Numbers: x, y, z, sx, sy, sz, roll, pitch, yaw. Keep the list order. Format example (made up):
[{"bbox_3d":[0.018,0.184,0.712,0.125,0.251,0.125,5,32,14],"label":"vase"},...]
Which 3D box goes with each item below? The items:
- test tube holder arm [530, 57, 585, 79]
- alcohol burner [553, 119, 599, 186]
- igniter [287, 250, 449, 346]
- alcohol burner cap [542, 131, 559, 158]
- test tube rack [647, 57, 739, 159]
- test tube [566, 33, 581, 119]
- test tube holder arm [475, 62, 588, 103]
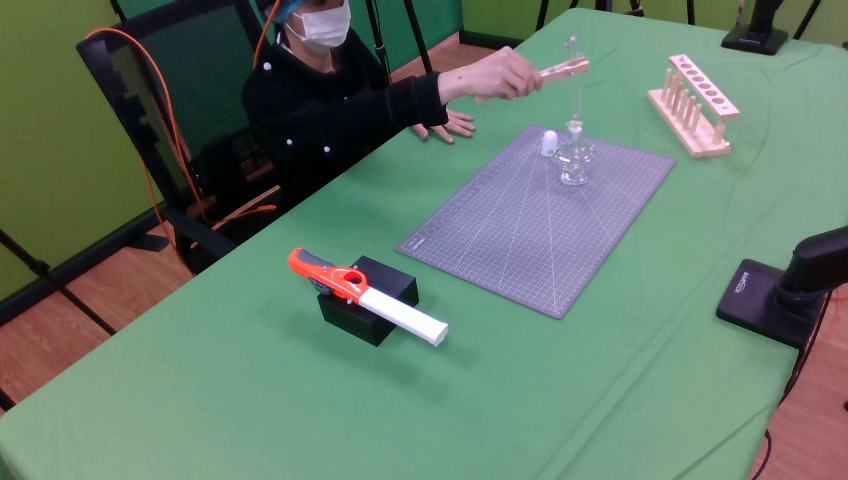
[{"bbox_3d":[0.207,-0.261,0.935,0.088,0.015,0.010,-22,44,-4],"label":"test tube holder arm"},{"bbox_3d":[0.261,-0.153,1.042,0.078,0.119,0.077,-6,40,6],"label":"alcohol burner"},{"bbox_3d":[-0.087,0.073,0.825,0.274,0.025,0.057,23,48,27],"label":"igniter"},{"bbox_3d":[0.237,-0.180,1.134,0.034,0.048,0.033,-5,41,5],"label":"alcohol burner cap"},{"bbox_3d":[0.504,-0.257,1.153,0.067,0.085,0.241,-8,40,1],"label":"test tube rack"},{"bbox_3d":[0.235,-0.252,0.945,0.017,0.151,0.017,-9,46,10],"label":"test tube"},{"bbox_3d":[0.165,-0.243,0.931,0.178,0.015,0.013,-16,44,2],"label":"test tube holder arm"}]
